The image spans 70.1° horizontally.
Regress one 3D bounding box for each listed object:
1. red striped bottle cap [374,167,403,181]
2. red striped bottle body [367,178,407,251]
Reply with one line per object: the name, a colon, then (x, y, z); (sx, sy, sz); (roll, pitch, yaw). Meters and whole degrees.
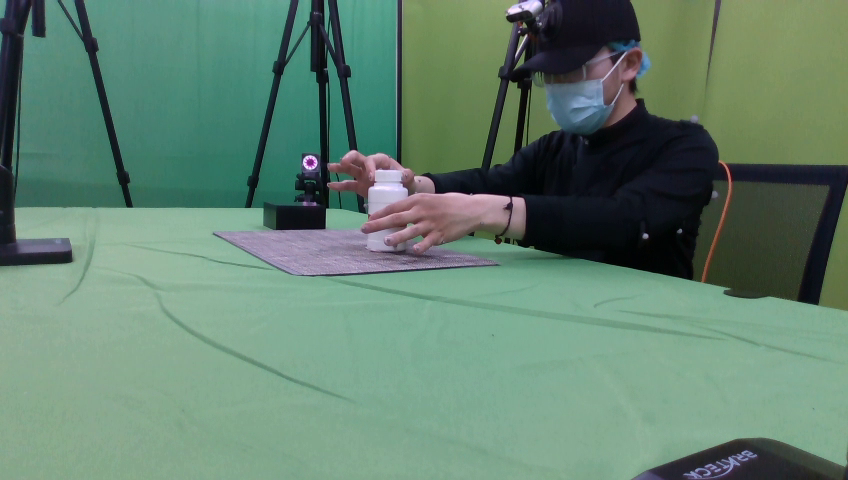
red striped bottle cap: (-0.056, -0.101, 0.934); (0.044, 0.017, 0.044); (-6, 0, 0)
red striped bottle body: (-0.057, -0.046, 0.941); (0.063, 0.119, 0.063); (1, 8, 0)
